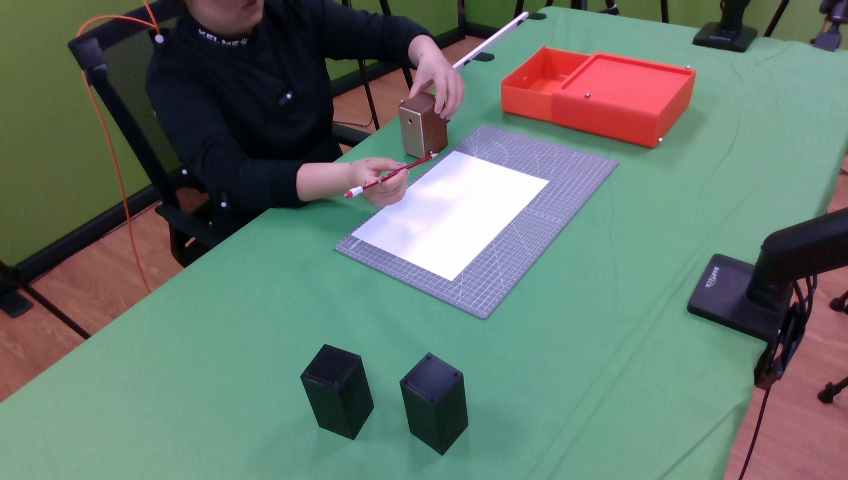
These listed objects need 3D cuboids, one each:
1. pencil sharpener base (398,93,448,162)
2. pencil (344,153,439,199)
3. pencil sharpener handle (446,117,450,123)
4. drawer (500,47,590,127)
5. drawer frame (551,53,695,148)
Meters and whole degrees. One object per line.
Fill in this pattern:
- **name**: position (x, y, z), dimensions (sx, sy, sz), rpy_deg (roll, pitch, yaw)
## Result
- **pencil sharpener base**: position (0.001, -0.217, 1.158), dimensions (0.061, 0.107, 0.077), rpy_deg (25, 49, 33)
- **pencil**: position (-0.048, -0.106, 0.965), dimensions (0.195, 0.012, 0.012), rpy_deg (-29, 44, -32)
- **pencil sharpener handle**: position (0.034, -0.253, 1.177), dimensions (0.035, 0.068, 0.031), rpy_deg (23, 48, 35)
- **drawer**: position (0.296, -0.316, 1.255), dimensions (0.210, 0.073, 0.195), rpy_deg (22, 47, 29)
- **drawer frame**: position (0.391, -0.281, 1.196), dimensions (0.212, 0.083, 0.202), rpy_deg (22, 48, 29)
